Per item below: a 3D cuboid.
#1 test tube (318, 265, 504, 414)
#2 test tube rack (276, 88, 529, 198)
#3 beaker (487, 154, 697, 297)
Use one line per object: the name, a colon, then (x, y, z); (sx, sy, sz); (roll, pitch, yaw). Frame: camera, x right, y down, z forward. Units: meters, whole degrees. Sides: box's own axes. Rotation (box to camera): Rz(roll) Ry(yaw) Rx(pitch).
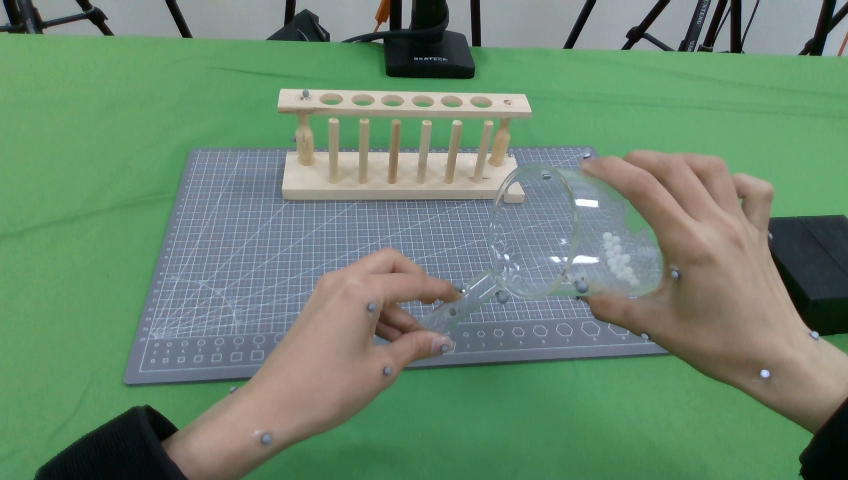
test tube: (-0.012, 0.065, 0.375); (0.017, 0.150, 0.017); (44, 19, -19)
test tube rack: (-0.020, -0.095, 0.603); (0.243, 0.086, 0.066); (-1, 43, -7)
beaker: (0.097, -0.003, 0.348); (0.101, 0.084, 0.073); (2, 51, -28)
